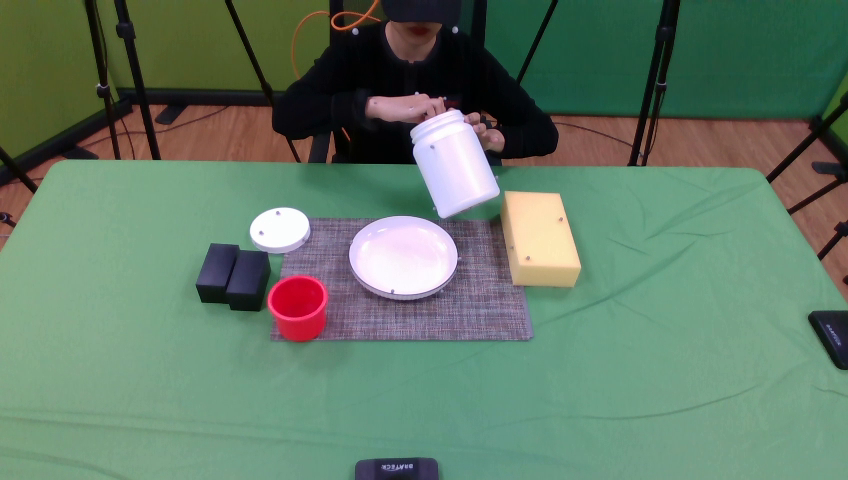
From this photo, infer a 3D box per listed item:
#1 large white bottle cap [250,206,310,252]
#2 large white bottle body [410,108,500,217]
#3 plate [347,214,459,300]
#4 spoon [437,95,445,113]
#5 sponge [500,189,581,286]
[{"bbox_3d":[-0.284,-0.023,1.197,0.115,0.018,0.114,1,46,0],"label":"large white bottle cap"},{"bbox_3d":[0.057,-0.151,1.182,0.131,0.130,0.184,-23,90,-23],"label":"large white bottle body"},{"bbox_3d":[-0.040,0.034,1.146,0.209,0.038,0.208,2,47,-2],"label":"plate"},{"bbox_3d":[0.041,-0.191,1.192,0.041,0.022,0.193,-7,80,0],"label":"spoon"},{"bbox_3d":[0.224,-0.007,1.192,0.118,0.061,0.205,1,47,-6],"label":"sponge"}]
